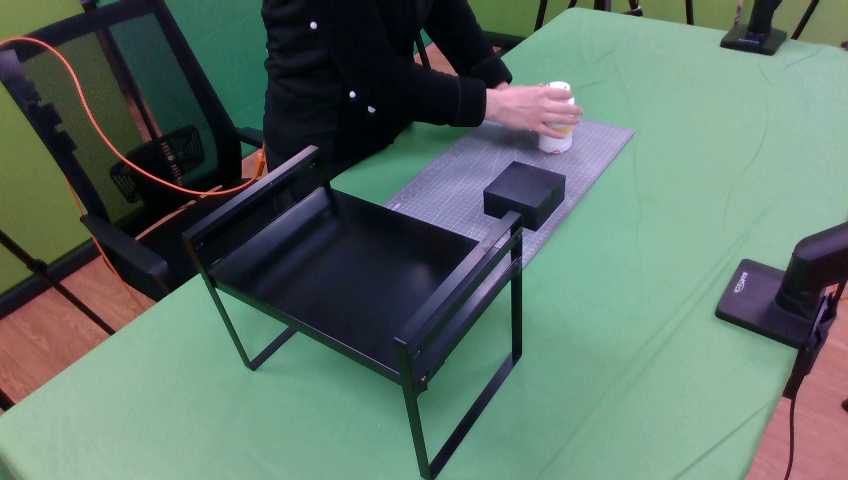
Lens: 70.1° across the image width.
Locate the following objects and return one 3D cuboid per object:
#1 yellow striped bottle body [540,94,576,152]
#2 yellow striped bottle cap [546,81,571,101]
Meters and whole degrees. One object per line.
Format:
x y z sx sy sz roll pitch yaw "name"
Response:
0.249 -0.230 1.127 0.063 0.121 0.062 -4 41 4 "yellow striped bottle body"
0.243 -0.270 1.092 0.044 0.019 0.044 -5 43 5 "yellow striped bottle cap"
